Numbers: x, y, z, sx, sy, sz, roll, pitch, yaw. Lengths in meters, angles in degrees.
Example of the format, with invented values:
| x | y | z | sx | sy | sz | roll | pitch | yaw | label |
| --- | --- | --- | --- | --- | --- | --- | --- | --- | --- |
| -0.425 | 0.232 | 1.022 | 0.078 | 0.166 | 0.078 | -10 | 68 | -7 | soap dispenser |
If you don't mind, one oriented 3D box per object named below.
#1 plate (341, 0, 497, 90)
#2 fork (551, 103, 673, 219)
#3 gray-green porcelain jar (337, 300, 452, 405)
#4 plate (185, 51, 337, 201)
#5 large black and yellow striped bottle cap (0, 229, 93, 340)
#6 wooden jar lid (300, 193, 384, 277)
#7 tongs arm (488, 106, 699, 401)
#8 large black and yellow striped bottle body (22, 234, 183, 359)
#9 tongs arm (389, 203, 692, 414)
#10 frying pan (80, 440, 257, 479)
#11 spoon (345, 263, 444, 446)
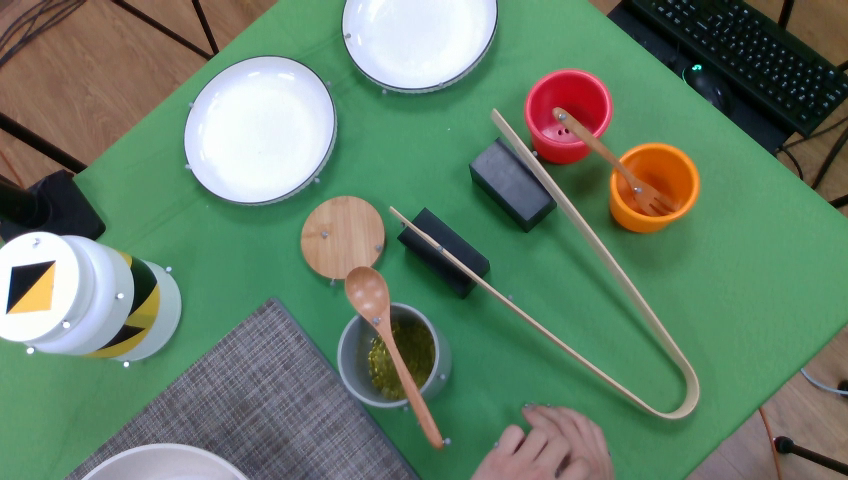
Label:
| x | y | z | sx | sy | sz | roll | pitch | yaw | label |
| --- | --- | --- | --- | --- | --- | --- | --- | --- | --- |
| -0.005 | -0.291 | 0.803 | 0.209 | 0.038 | 0.208 | -2 | 77 | 9 | plate |
| 0.209 | -0.084 | 0.662 | 0.209 | 0.018 | 0.028 | 34 | 92 | -29 | fork |
| -0.026 | 0.126 | 0.662 | 0.106 | 0.127 | 0.105 | -2 | 76 | 9 | gray-green porcelain jar |
| -0.212 | -0.148 | 0.803 | 0.207 | 0.039 | 0.206 | -2 | 77 | 9 | plate |
| -0.399 | 0.045 | 0.623 | 0.115 | 0.019 | 0.114 | -2 | 78 | 8 | large black and yellow striped bottle cap |
| -0.101 | -0.005 | 0.761 | 0.108 | 0.021 | 0.108 | -2 | 78 | 8 | wooden jar lid |
| 0.185 | 0.009 | 0.671 | 0.028 | 0.028 | 0.386 | -35 | 85 | -10 | tongs arm |
| -0.386 | 0.067 | 0.704 | 0.130 | 0.185 | 0.130 | -2 | 76 | 9 | large black and yellow striped bottle body |
| 0.124 | 0.067 | 0.663 | 0.384 | 0.026 | 0.050 | 40 | 82 | 3 | tongs arm |
| -0.280 | 0.466 | 0.630 | 0.306 | 0.103 | 0.484 | -2 | 68 | 9 | frying pan |
| -0.027 | 0.111 | 0.593 | 0.041 | 0.022 | 0.192 | -25 | 78 | -1 | spoon |
